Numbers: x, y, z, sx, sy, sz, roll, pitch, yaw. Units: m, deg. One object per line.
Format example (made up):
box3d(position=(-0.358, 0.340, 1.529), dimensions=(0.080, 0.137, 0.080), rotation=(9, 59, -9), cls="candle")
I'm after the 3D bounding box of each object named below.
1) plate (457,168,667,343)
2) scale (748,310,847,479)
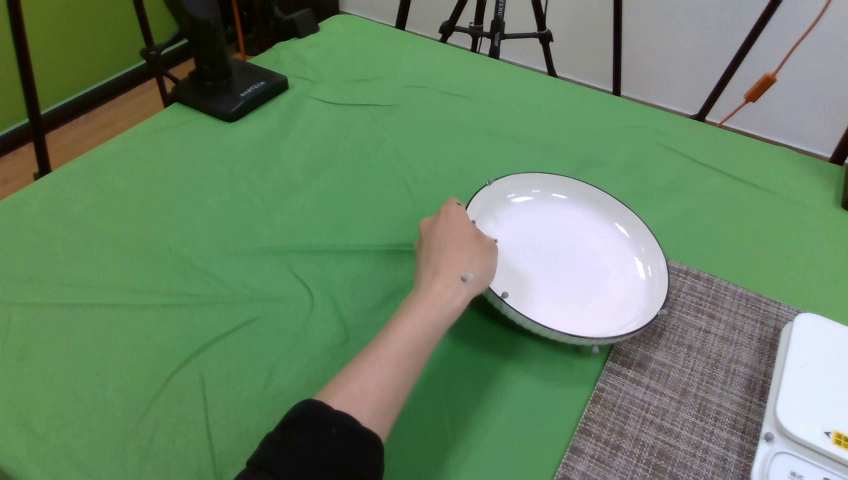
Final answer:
box3d(position=(0.131, 0.013, 0.594), dimensions=(0.210, 0.038, 0.207), rotation=(7, 49, -8), cls="plate")
box3d(position=(0.351, 0.151, 0.481), dimensions=(0.148, 0.032, 0.200), rotation=(24, 47, 20), cls="scale")
